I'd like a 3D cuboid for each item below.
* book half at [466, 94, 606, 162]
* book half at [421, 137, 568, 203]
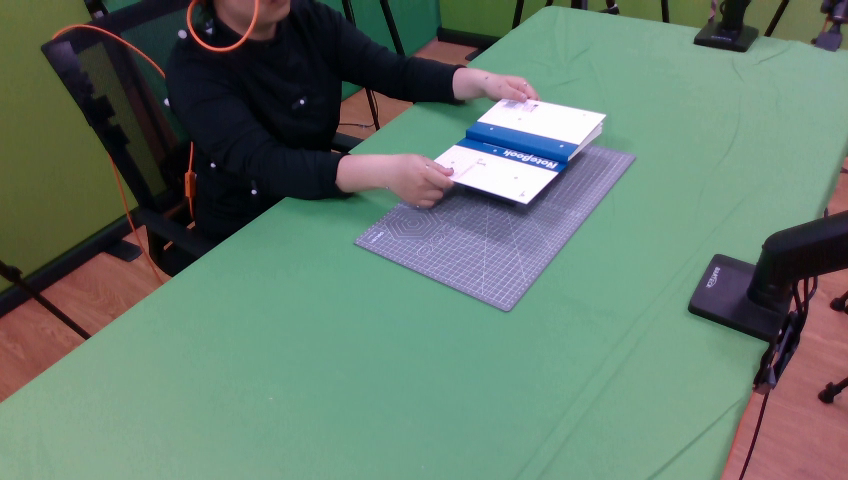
[{"bbox_3d":[0.202,-0.210,1.103,0.208,0.016,0.149,20,50,32],"label":"book half"},{"bbox_3d":[0.118,-0.124,1.025,0.208,0.007,0.143,21,44,31],"label":"book half"}]
